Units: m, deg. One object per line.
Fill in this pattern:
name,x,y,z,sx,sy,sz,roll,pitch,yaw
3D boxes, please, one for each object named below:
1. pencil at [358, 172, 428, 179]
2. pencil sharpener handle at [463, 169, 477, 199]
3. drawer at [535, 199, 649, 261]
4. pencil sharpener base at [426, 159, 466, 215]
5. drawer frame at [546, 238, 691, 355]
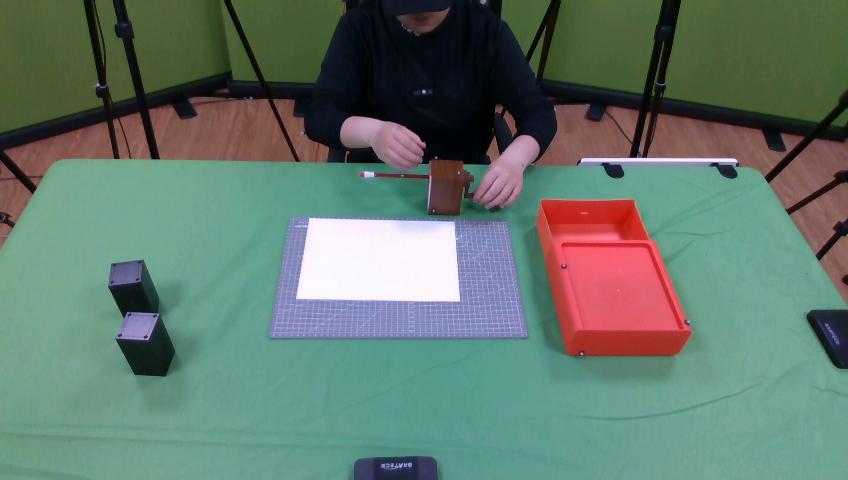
pencil,-0.036,-0.128,1.223,0.194,0.012,0.012,2,45,-3
pencil sharpener handle,0.096,-0.112,1.239,0.031,0.068,0.036,2,39,-3
drawer,0.332,0.015,1.169,0.195,0.073,0.210,0,46,-5
pencil sharpener base,0.044,-0.106,1.246,0.077,0.107,0.061,2,45,-3
drawer frame,0.338,0.097,1.086,0.202,0.083,0.212,0,46,-4
